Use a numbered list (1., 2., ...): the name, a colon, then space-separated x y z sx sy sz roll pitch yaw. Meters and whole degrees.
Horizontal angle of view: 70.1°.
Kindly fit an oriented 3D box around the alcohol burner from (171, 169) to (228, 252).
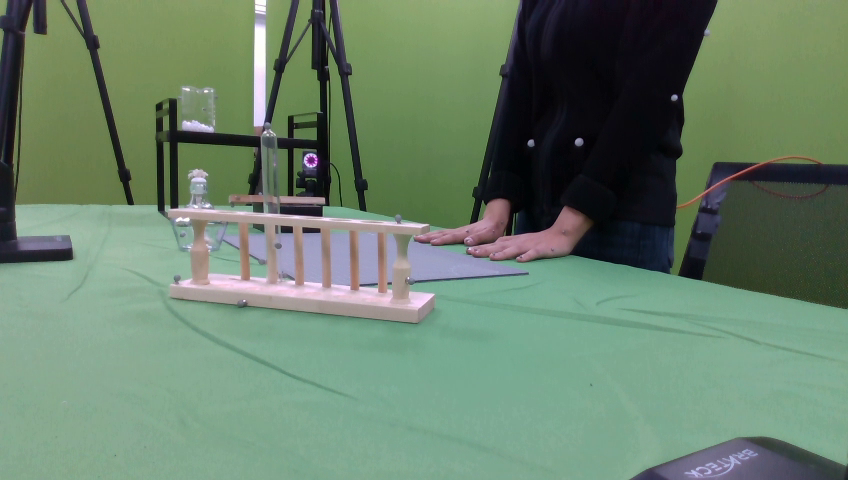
1. alcohol burner: -0.325 -0.043 0.875 0.078 0.119 0.078 0 7 0

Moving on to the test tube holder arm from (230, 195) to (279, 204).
1. test tube holder arm: -0.311 -0.075 1.115 0.088 0.015 0.010 -1 1 -31

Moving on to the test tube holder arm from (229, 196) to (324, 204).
1. test tube holder arm: -0.275 -0.076 1.143 0.179 0.015 0.013 -1 0 -32

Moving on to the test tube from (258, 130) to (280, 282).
1. test tube: -0.152 -0.032 0.596 0.017 0.150 0.017 0 9 0

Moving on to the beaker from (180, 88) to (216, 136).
1. beaker: -0.497 -0.283 1.339 0.074 0.100 0.083 -2 9 -28

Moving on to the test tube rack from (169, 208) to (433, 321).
1. test tube rack: -0.115 0.018 0.574 0.242 0.085 0.067 4 8 13

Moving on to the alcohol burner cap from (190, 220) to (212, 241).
1. alcohol burner cap: -0.365 -0.023 0.988 0.034 0.048 0.034 1 8 0
